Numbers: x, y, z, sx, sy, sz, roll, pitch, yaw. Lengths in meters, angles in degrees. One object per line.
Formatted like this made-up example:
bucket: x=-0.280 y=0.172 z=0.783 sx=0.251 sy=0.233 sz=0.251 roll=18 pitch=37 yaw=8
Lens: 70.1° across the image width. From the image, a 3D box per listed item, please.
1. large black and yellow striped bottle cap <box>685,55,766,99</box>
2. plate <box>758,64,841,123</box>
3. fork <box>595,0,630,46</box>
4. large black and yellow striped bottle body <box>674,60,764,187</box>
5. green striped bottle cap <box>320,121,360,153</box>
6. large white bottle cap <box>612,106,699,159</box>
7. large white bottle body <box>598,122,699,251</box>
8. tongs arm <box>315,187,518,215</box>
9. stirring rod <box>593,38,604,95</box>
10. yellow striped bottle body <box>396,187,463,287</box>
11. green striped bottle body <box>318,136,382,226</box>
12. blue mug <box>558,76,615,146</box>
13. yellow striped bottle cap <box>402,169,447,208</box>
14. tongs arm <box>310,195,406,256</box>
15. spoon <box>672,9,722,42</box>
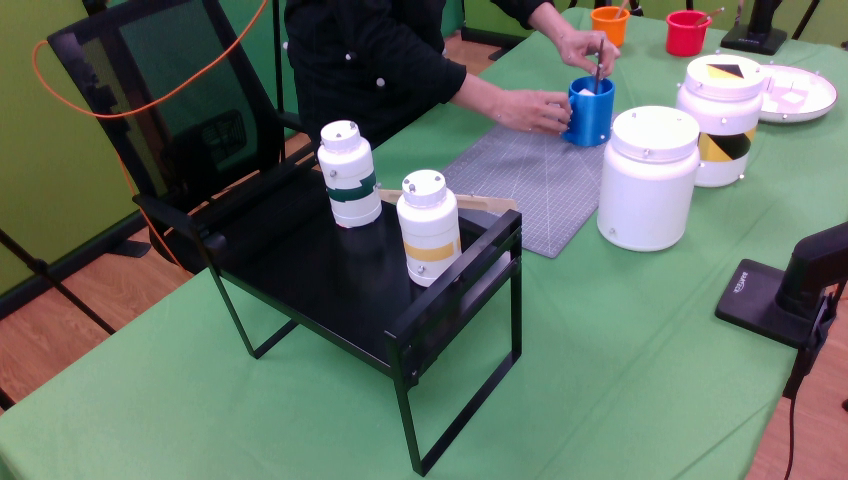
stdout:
large black and yellow striped bottle cap: x=0.474 y=-0.258 z=0.952 sx=0.115 sy=0.019 sz=0.114 roll=-5 pitch=41 yaw=5
plate: x=0.694 y=-0.283 z=1.189 sx=0.207 sy=0.039 sz=0.206 roll=-4 pitch=40 yaw=4
fork: x=0.480 y=-0.556 z=1.453 sx=0.028 sy=0.019 sz=0.207 roll=41 pitch=104 yaw=42
large black and yellow striped bottle body: x=0.482 y=-0.196 z=1.008 sx=0.131 sy=0.185 sz=0.130 roll=-4 pitch=41 yaw=4
green striped bottle cap: x=-0.097 y=-0.120 z=0.699 sx=0.044 sy=0.020 sz=0.044 roll=-3 pitch=40 yaw=3
large white bottle cap: x=0.325 y=-0.153 z=0.850 sx=0.115 sy=0.018 sz=0.114 roll=-4 pitch=41 yaw=4
large white bottle body: x=0.334 y=-0.090 z=0.906 sx=0.130 sy=0.185 sz=0.130 roll=-5 pitch=41 yaw=5
tongs arm: x=-0.028 y=-0.060 z=0.988 sx=0.382 sy=0.027 sz=0.051 roll=10 pitch=45 yaw=36
stirring rod: x=0.321 y=-0.291 z=1.125 sx=0.006 sy=0.177 sz=0.014 roll=9 pitch=46 yaw=14
yellow striped bottle body: x=0.006 y=-0.013 z=0.638 sx=0.063 sy=0.121 sz=0.062 roll=-5 pitch=41 yaw=4
green striped bottle body: x=-0.090 y=-0.080 z=0.733 sx=0.063 sy=0.120 sz=0.063 roll=-5 pitch=41 yaw=4
blue mug: x=0.301 y=-0.238 z=1.141 sx=0.117 sy=0.106 sz=0.081 roll=-25 pitch=43 yaw=-18
yellow striped bottle cap: x=0.000 y=-0.052 z=0.605 sx=0.044 sy=0.019 sz=0.044 roll=-5 pitch=43 yaw=5
tongs arm: x=-0.078 y=-0.013 z=0.944 sx=0.028 sy=0.028 sz=0.384 roll=-42 pitch=39 yaw=-23
spoon: x=0.606 y=-0.476 z=1.345 sx=0.042 sy=0.021 sz=0.193 roll=-6 pitch=-3 yaw=-2
